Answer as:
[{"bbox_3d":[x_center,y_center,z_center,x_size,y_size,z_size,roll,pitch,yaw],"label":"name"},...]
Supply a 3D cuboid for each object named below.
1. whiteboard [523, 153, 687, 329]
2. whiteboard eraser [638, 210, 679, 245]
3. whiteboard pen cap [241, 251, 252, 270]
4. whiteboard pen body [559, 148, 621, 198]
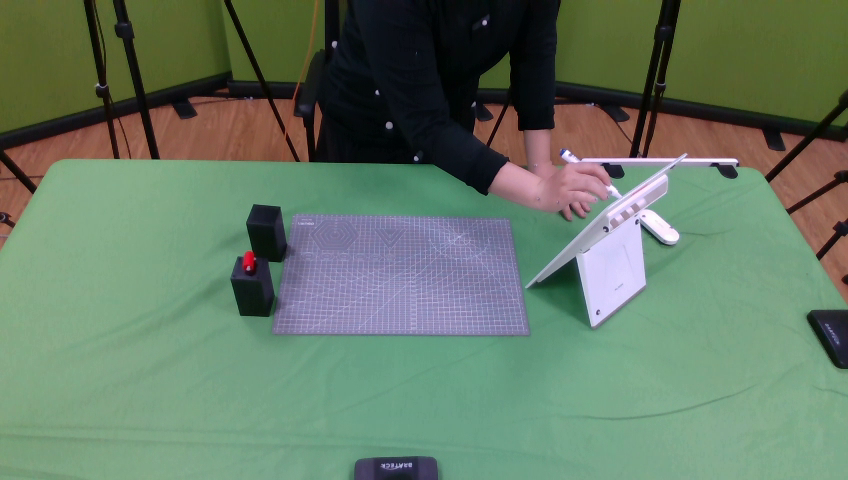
[{"bbox_3d":[0.347,0.025,1.046,0.217,0.306,0.143,-30,74,-29],"label":"whiteboard"},{"bbox_3d":[0.486,-0.026,1.260,0.041,0.019,0.100,-20,50,-20],"label":"whiteboard eraser"},{"bbox_3d":[-0.293,0.033,1.006,0.017,0.017,0.032,-3,44,-7],"label":"whiteboard pen cap"},{"bbox_3d":[0.290,-0.110,1.038,0.140,0.017,0.017,40,54,8],"label":"whiteboard pen body"}]
